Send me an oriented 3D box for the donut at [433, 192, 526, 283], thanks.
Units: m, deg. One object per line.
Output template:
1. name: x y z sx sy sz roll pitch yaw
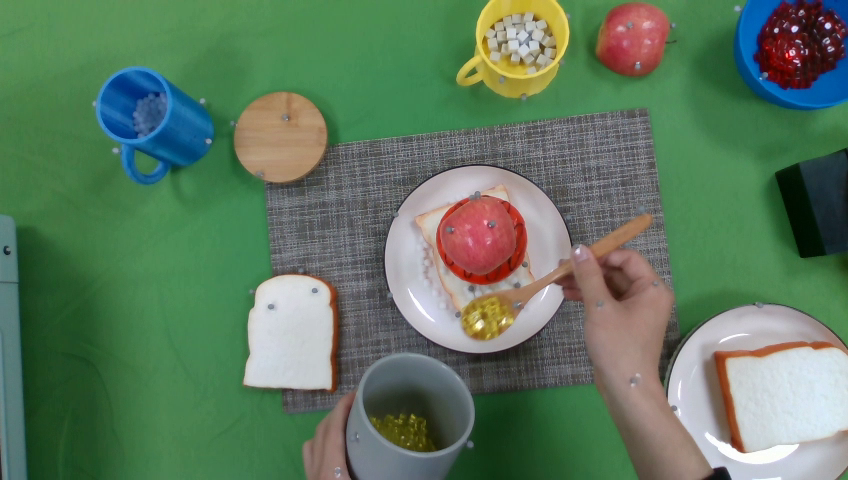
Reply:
1. donut: 0.059 -0.003 0.645 0.099 0.048 0.099 0 86 4

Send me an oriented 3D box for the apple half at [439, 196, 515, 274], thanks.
1. apple half: 0.054 -0.006 0.609 0.081 0.033 0.081 -1 84 10

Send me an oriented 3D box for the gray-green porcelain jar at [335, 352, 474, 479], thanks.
1. gray-green porcelain jar: -0.023 0.184 0.561 0.105 0.105 0.127 25 128 5

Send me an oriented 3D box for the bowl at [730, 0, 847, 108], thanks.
1. bowl: 0.397 -0.207 0.652 0.151 0.077 0.151 0 86 4

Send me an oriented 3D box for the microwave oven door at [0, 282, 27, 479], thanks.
1. microwave oven door: -0.475 0.214 0.569 0.039 0.244 0.355 -6 85 3

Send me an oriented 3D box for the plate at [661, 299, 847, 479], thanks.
1. plate: 0.355 0.167 0.646 0.209 0.038 0.208 0 85 4

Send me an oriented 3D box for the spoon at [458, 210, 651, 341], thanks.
1. spoon: 0.110 0.032 0.526 0.194 0.022 0.041 -35 80 23

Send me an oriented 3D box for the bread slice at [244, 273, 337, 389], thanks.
1. bread slice: -0.151 0.103 0.687 0.105 0.019 0.131 1 87 3

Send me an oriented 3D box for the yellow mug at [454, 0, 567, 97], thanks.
1. yellow mug: 0.091 -0.211 0.677 0.131 0.064 0.099 -30 84 1

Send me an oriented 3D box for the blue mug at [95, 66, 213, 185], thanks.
1. blue mug: -0.299 -0.118 0.671 0.082 0.106 0.116 14 86 5

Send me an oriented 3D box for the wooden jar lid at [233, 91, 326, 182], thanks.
1. wooden jar lid: -0.166 -0.118 0.704 0.108 0.021 0.108 -1 82 4

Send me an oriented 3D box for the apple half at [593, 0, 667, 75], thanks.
1. apple half: 0.232 -0.232 0.677 0.074 0.053 0.080 16 87 7

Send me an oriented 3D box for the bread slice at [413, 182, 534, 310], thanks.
1. bread slice: 0.062 0.014 0.672 0.107 0.018 0.134 -24 85 2

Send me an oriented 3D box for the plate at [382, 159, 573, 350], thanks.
1. plate: 0.058 0.016 0.671 0.207 0.039 0.207 0 86 3

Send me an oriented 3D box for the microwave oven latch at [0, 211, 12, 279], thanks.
1. microwave oven latch: -0.489 0.005 0.688 0.030 0.029 0.079 -2 86 3
